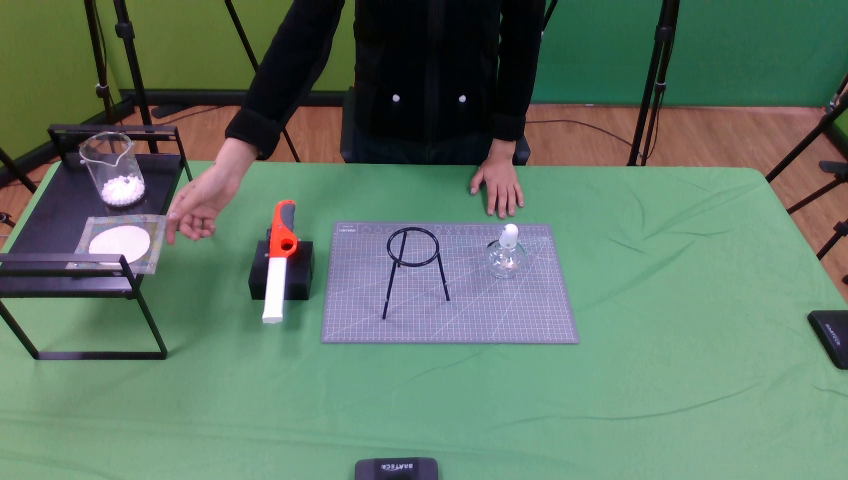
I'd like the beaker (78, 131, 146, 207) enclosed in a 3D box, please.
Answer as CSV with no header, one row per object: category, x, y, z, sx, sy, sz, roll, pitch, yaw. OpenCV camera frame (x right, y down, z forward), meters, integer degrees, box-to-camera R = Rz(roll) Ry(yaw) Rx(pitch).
beaker,-0.488,-0.108,0.961,0.074,0.101,0.083,-25,53,-25

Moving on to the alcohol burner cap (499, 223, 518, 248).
alcohol burner cap,0.156,-0.010,1.102,0.034,0.048,0.033,1,53,-2

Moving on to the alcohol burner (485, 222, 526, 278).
alcohol burner,0.154,0.014,1.130,0.078,0.120,0.077,2,44,-2

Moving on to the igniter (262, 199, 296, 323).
igniter,-0.260,0.027,1.083,0.057,0.025,0.274,0,49,-6

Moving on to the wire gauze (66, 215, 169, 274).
wire gauze,-0.461,0.004,0.919,0.125,0.011,0.120,0,44,-7

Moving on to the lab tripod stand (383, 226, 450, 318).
lab tripod stand,-0.023,0.055,1.062,0.148,0.132,0.147,2,48,-2
